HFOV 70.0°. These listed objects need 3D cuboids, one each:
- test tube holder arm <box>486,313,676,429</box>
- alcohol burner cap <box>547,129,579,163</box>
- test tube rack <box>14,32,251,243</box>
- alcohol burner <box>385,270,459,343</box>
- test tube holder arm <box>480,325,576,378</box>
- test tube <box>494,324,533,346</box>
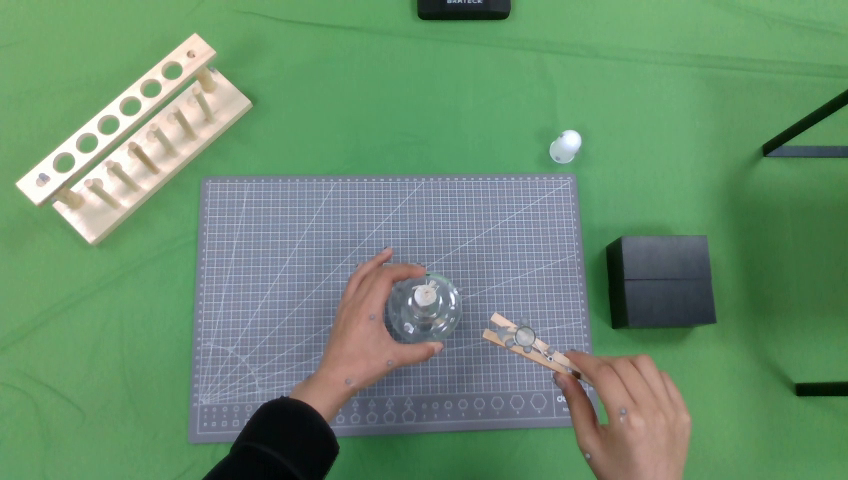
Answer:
[{"bbox_3d":[0.132,0.111,0.514,0.178,0.015,0.013,29,91,5],"label":"test tube holder arm"},{"bbox_3d":[0.171,-0.117,0.737,0.034,0.048,0.033,1,76,-4],"label":"alcohol burner cap"},{"bbox_3d":[-0.313,-0.112,0.675,0.066,0.085,0.242,43,78,6],"label":"test tube rack"},{"bbox_3d":[-0.001,0.065,0.624,0.078,0.119,0.077,1,72,-2],"label":"alcohol burner"},{"bbox_3d":[0.090,0.095,0.517,0.088,0.015,0.010,23,90,5],"label":"test tube holder arm"},{"bbox_3d":[0.071,0.079,0.503,0.017,0.150,0.017,0,81,0],"label":"test tube"}]
